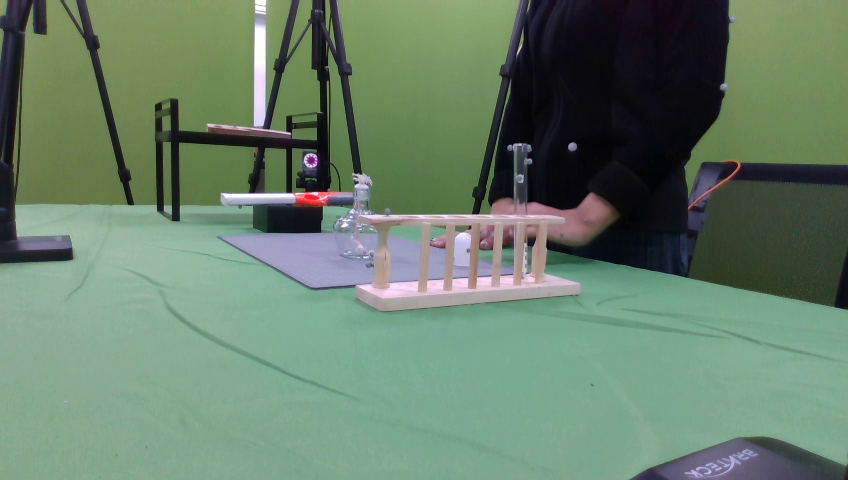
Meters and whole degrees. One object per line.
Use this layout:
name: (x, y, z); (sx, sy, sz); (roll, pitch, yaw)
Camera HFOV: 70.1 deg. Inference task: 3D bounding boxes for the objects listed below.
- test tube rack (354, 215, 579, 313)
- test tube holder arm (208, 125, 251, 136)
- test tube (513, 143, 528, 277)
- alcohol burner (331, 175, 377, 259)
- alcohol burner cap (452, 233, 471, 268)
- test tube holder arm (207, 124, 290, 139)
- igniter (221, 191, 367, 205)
test tube rack: (0.053, 0.019, 0.635); (0.243, 0.085, 0.066); (-1, 8, -29)
test tube holder arm: (-0.418, -0.234, 1.299); (0.088, 0.015, 0.010); (1, 41, -31)
test tube: (0.108, -0.033, 0.677); (0.017, 0.150, 0.017); (-1, 8, 1)
alcohol burner: (-0.091, -0.033, 0.855); (0.078, 0.119, 0.078); (4, 7, 0)
alcohol burner cap: (0.053, 0.014, 0.823); (0.034, 0.048, 0.034); (3, 6, 0)
test tube holder arm: (-0.381, -0.237, 1.327); (0.179, 0.015, 0.013); (0, 41, -32)
igniter: (-0.239, -0.078, 1.149); (0.278, 0.025, 0.057); (-3, 20, -31)
